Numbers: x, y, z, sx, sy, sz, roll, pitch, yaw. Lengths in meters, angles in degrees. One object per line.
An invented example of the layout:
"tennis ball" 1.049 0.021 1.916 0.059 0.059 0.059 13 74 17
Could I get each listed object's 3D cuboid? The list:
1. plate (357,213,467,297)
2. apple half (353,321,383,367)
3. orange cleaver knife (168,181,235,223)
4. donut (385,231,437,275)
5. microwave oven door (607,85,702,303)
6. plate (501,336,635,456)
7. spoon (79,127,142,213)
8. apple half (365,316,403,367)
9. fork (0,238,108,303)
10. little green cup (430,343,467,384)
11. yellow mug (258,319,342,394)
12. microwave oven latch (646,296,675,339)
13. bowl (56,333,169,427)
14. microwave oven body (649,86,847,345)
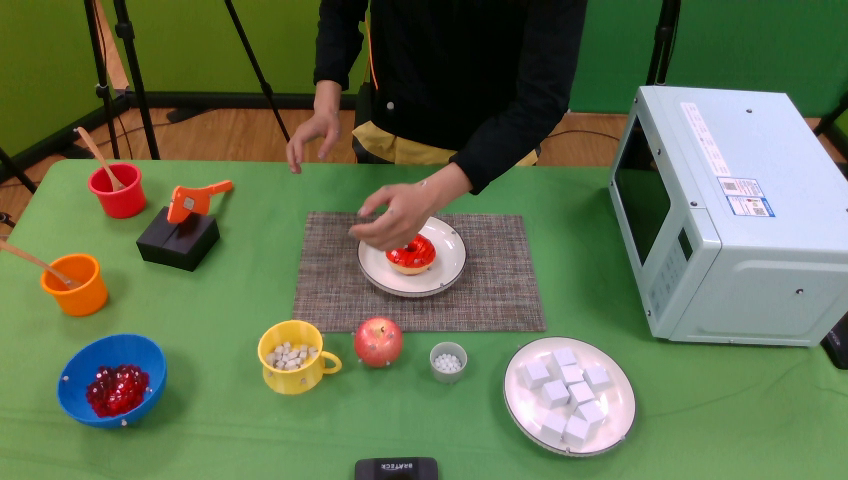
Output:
"plate" -0.023 0.031 1.149 0.209 0.038 0.208 2 46 -2
"apple half" -0.097 0.177 0.984 0.033 0.081 0.081 -17 49 -25
"orange cleaver knife" -0.436 -0.078 1.196 0.012 0.077 0.211 16 15 10
"donut" -0.025 0.024 1.141 0.099 0.048 0.098 3 45 -3
"microwave oven door" 0.423 -0.094 1.140 0.039 0.245 0.353 2 46 -1
"plate" 0.225 0.248 0.964 0.208 0.039 0.206 2 46 -2
"spoon" -0.625 -0.140 1.203 0.041 0.021 0.194 -33 101 -26
"apple half" -0.063 0.165 0.999 0.053 0.075 0.080 -16 45 -24
"fork" -0.633 0.048 1.017 0.208 0.018 0.028 40 41 -27
"little green cup" 0.039 0.203 0.994 0.061 0.039 0.061 2 46 -2
"yellow mug" -0.195 0.189 0.972 0.131 0.064 0.099 9 46 4
"microwave oven latch" 0.412 0.134 1.061 0.030 0.029 0.078 4 45 1
"bowl" -0.456 0.223 0.912 0.151 0.077 0.150 3 46 -2
"microwave oven body" 0.568 -0.053 1.118 0.326 0.261 0.439 2 45 -1
